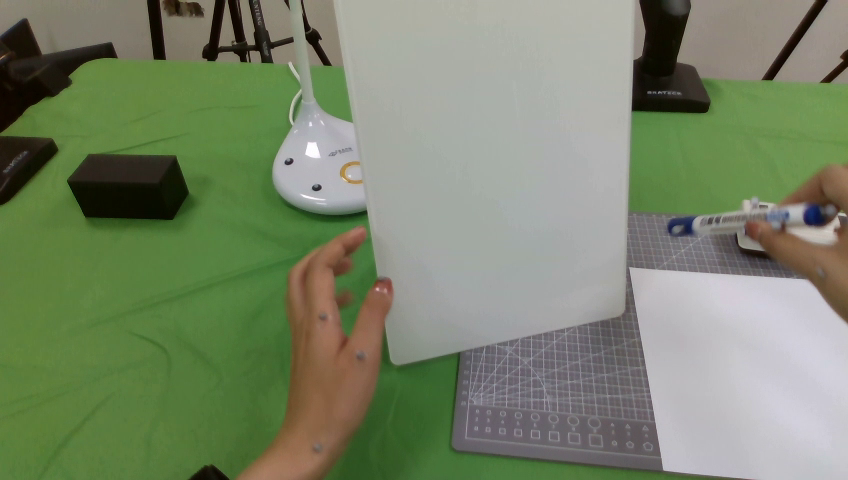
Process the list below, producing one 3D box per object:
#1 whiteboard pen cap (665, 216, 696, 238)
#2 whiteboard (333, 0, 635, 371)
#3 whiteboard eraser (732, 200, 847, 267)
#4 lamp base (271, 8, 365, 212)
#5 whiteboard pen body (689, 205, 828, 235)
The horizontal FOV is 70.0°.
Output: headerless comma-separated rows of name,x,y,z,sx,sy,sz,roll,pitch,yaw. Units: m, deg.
whiteboard pen cap,0.219,-0.012,0.507,0.018,0.018,0.033,-15,0,-15
whiteboard,0.047,-0.073,0.528,0.217,0.307,0.142,-10,24,-9
whiteboard eraser,0.365,-0.005,0.594,0.112,0.042,0.055,9,42,11
lamp base,-0.107,-0.148,0.663,0.160,0.182,0.177,-31,48,-29
whiteboard pen body,0.233,-0.013,0.449,0.017,0.017,0.140,-15,2,-14
